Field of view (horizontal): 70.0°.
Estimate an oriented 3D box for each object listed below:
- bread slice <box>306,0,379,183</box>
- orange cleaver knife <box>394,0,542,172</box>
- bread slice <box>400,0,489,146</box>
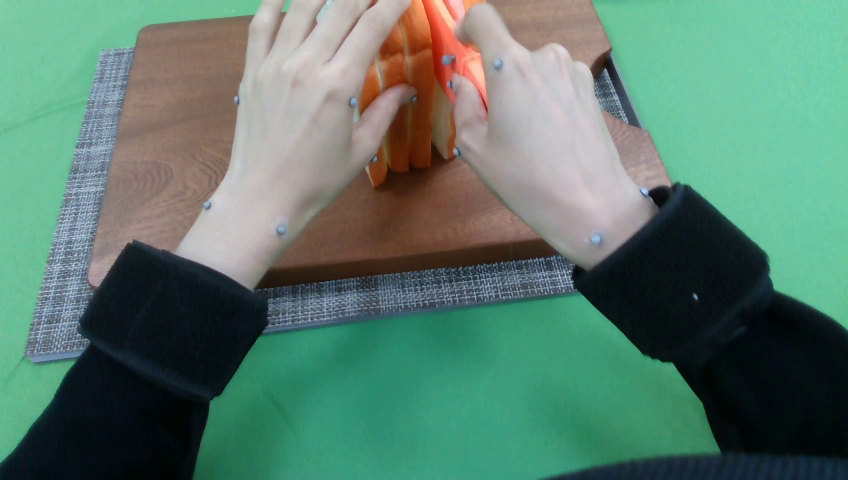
[{"bbox_3d":[-0.056,-0.122,0.407,0.018,0.135,0.106,-18,54,-14],"label":"bread slice"},{"bbox_3d":[0.012,-0.120,0.370,0.012,0.077,0.210,-23,71,-11],"label":"orange cleaver knife"},{"bbox_3d":[0.013,-0.142,0.422,0.019,0.132,0.104,-27,61,-11],"label":"bread slice"}]
